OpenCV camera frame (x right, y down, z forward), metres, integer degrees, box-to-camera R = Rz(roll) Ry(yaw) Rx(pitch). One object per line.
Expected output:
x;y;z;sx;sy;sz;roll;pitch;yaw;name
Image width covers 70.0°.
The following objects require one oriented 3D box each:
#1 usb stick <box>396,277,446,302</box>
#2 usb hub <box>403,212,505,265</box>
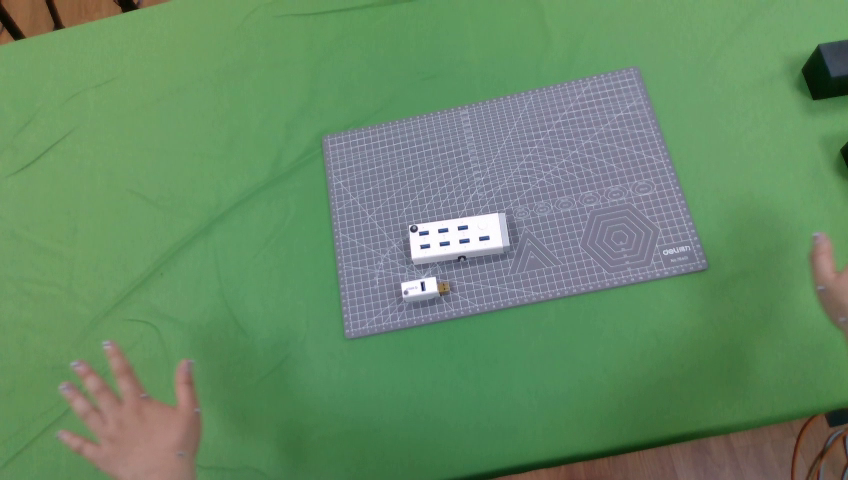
-0.003;0.060;0.750;0.059;0.027;0.021;-9;69;2;usb stick
0.037;-0.003;0.768;0.125;0.025;0.049;-8;68;5;usb hub
